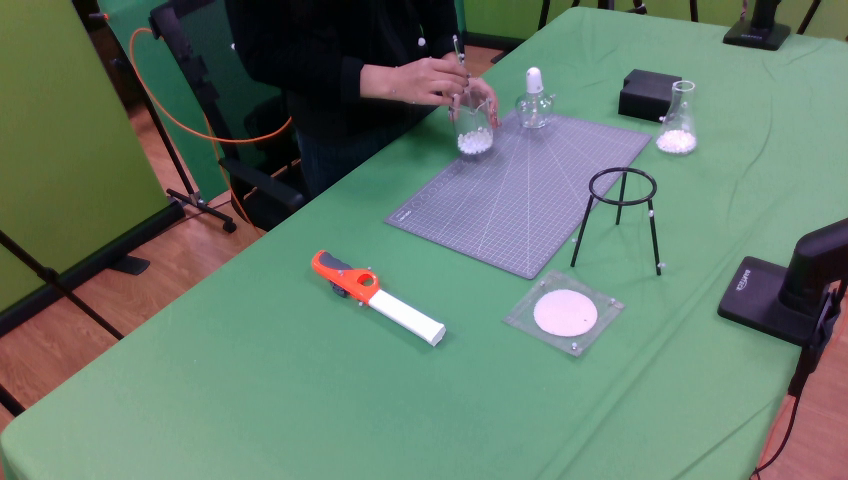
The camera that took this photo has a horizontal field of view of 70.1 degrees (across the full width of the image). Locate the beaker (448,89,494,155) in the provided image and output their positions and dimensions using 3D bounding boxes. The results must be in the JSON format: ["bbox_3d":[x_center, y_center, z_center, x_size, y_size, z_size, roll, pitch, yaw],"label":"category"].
[{"bbox_3d":[0.089,-0.212,1.106,0.074,0.101,0.083,-14,39,1],"label":"beaker"}]

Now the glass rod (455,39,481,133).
[{"bbox_3d":[0.081,-0.269,1.081,0.008,0.201,0.008,-10,47,12],"label":"glass rod"}]

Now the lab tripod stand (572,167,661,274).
[{"bbox_3d":[0.284,-0.030,0.879,0.148,0.132,0.147,-7,38,6],"label":"lab tripod stand"}]

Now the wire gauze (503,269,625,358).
[{"bbox_3d":[0.194,0.100,0.840,0.120,0.011,0.125,27,54,36],"label":"wire gauze"}]

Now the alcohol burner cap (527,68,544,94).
[{"bbox_3d":[0.216,-0.312,1.179,0.034,0.048,0.033,-9,40,8],"label":"alcohol burner cap"}]

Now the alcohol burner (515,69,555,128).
[{"bbox_3d":[0.221,-0.285,1.203,0.078,0.119,0.077,-4,39,4],"label":"alcohol burner"}]

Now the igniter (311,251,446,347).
[{"bbox_3d":[-0.078,0.081,0.899,0.274,0.025,0.057,27,62,35],"label":"igniter"}]

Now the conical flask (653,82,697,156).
[{"bbox_3d":[0.454,-0.218,1.077,0.075,0.122,0.075,-5,40,5],"label":"conical flask"}]
